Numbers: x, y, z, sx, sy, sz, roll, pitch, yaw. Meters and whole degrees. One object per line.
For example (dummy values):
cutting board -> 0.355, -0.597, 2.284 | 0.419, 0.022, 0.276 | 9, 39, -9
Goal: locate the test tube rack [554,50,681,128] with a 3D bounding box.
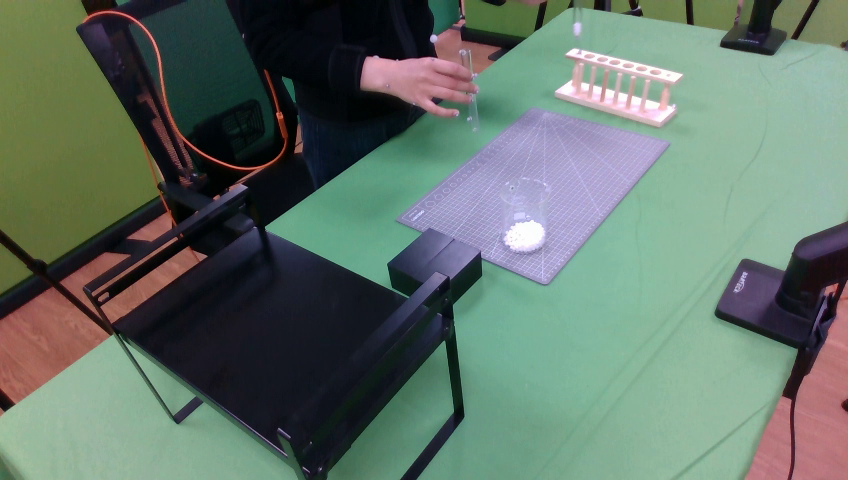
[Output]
test tube rack -> 0.388, -0.312, 1.234 | 0.240, 0.085, 0.067 | 28, 51, 34

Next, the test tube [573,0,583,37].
test tube -> 0.287, -0.450, 1.122 | 0.017, 0.151, 0.017 | -6, 41, 5

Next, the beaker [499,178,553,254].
beaker -> 0.157, -0.036, 0.929 | 0.084, 0.100, 0.073 | -16, 41, -12

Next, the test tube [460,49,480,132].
test tube -> 0.078, -0.248, 1.017 | 0.017, 0.151, 0.017 | -7, 39, 6
